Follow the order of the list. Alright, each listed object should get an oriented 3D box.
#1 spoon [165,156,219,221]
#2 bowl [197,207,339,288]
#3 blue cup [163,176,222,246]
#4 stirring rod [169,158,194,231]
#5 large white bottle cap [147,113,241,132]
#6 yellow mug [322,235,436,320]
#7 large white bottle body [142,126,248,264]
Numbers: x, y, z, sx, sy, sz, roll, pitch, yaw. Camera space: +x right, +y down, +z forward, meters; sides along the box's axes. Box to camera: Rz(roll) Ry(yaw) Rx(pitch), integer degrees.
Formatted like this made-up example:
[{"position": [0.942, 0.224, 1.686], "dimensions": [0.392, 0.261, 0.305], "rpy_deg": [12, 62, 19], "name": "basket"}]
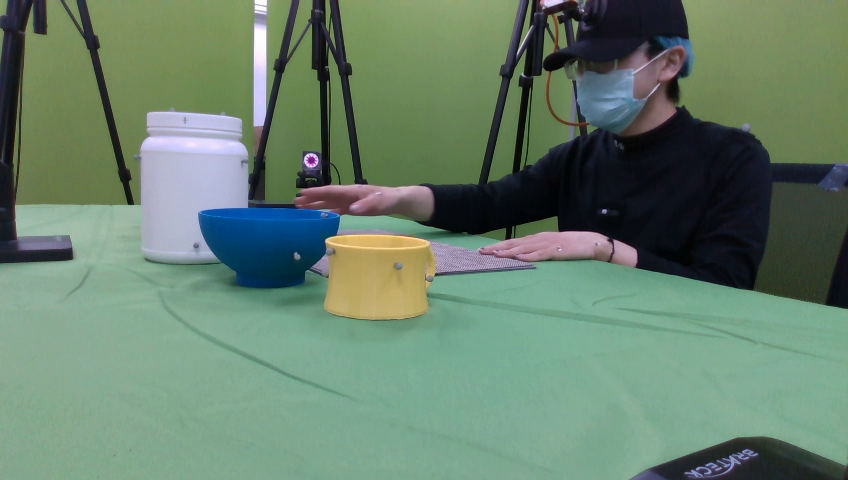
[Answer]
[{"position": [-0.451, -0.104, 1.193], "dimensions": [0.041, 0.022, 0.193], "rpy_deg": [5, 51, 17], "name": "spoon"}, {"position": [-0.171, 0.008, 0.671], "dimensions": [0.151, 0.077, 0.151], "rpy_deg": [2, 7, 0], "name": "bowl"}, {"position": [-0.356, -0.045, 0.929], "dimensions": [0.093, 0.100, 0.092], "rpy_deg": [4, 8, 0], "name": "blue cup"}, {"position": [-0.424, -0.082, 1.060], "dimensions": [0.014, 0.006, 0.175], "rpy_deg": [2, 50, -10], "name": "stirring rod"}, {"position": [-0.297, -0.151, 0.786], "dimensions": [0.115, 0.018, 0.115], "rpy_deg": [2, 7, 0], "name": "large white bottle cap"}, {"position": [-0.034, 0.031, 0.581], "dimensions": [0.099, 0.064, 0.131], "rpy_deg": [8, 8, 42], "name": "yellow mug"}, {"position": [-0.300, -0.068, 0.797], "dimensions": [0.131, 0.184, 0.130], "rpy_deg": [2, 7, 0], "name": "large white bottle body"}]
